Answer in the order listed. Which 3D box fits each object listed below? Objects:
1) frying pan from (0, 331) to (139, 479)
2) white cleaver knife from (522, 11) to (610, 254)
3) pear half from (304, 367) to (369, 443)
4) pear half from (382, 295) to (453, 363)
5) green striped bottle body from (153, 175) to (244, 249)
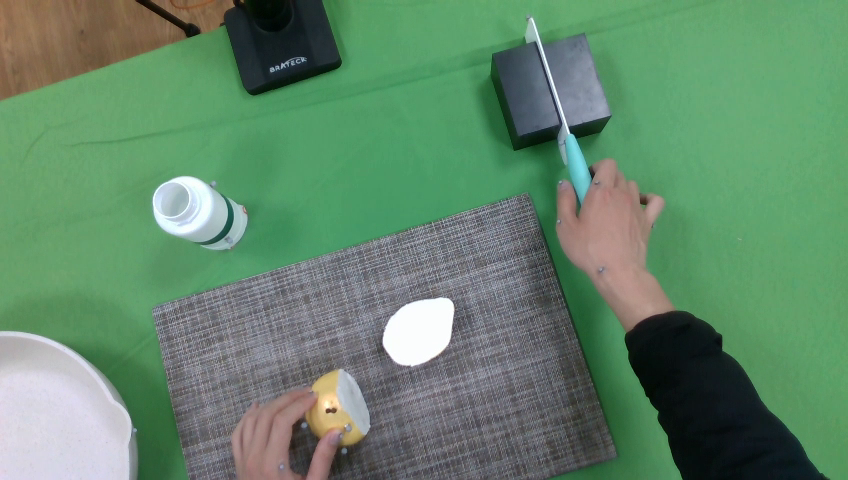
[{"bbox_3d":[-0.400,0.334,0.608,0.307,0.103,0.484,-22,72,0],"label":"frying pan"},{"bbox_3d":[0.154,-0.121,0.671,0.021,0.066,0.285,-15,78,7],"label":"white cleaver knife"},{"bbox_3d":[-0.096,0.171,0.612,0.056,0.110,0.076,-30,75,-1],"label":"pear half"},{"bbox_3d":[-0.002,0.098,0.657,0.088,0.031,0.070,-39,64,-15],"label":"pear half"},{"bbox_3d":[-0.244,-0.030,0.650,0.063,0.119,0.063,-1,80,3],"label":"green striped bottle body"}]
